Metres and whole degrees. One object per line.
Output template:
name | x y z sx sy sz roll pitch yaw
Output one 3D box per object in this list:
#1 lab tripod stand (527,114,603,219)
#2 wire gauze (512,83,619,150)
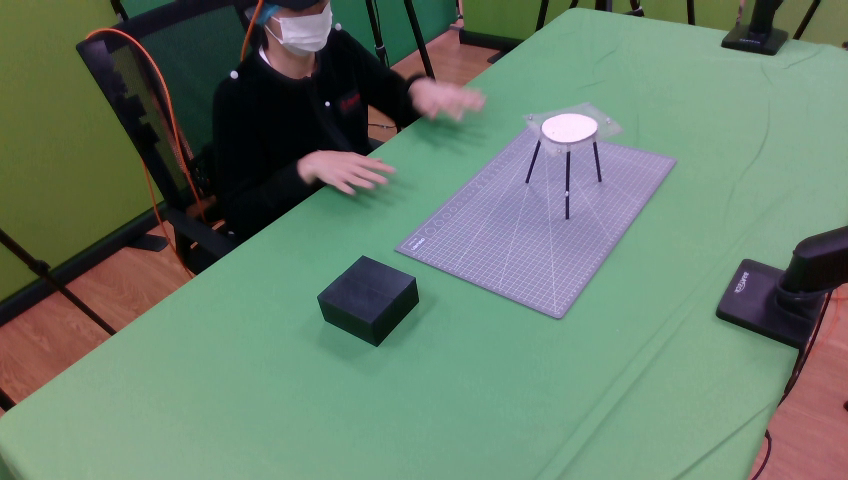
lab tripod stand | 0.234 -0.129 1.002 0.148 0.132 0.147 -6 40 6
wire gauze | 0.221 -0.193 0.950 0.125 0.011 0.120 -34 50 -17
